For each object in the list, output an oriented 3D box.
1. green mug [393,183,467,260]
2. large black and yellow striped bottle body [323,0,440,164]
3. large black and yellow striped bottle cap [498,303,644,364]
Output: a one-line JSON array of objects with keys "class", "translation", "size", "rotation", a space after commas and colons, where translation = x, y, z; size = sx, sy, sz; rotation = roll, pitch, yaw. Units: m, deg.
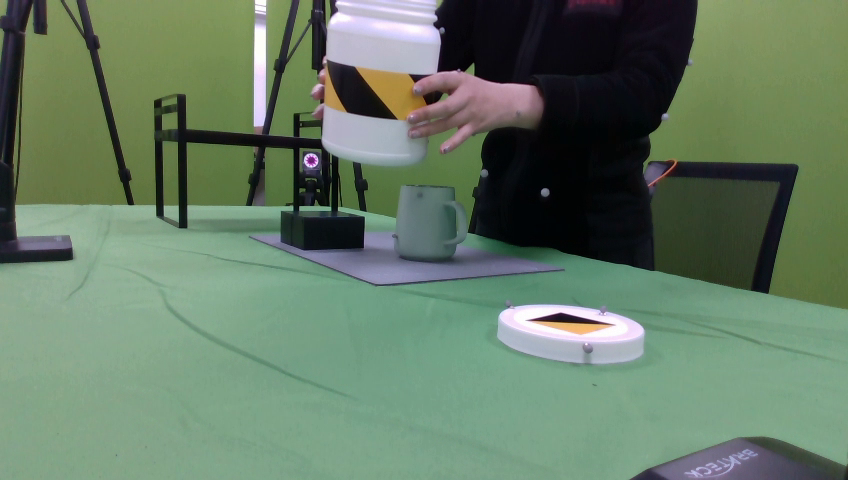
[{"class": "green mug", "translation": [0.014, -0.026, 0.857], "size": [0.093, 0.105, 0.124], "rotation": [-4, 10, -41]}, {"class": "large black and yellow striped bottle body", "translation": [-0.051, -0.195, 0.720], "size": [0.131, 0.184, 0.130], "rotation": [6, 23, -2]}, {"class": "large black and yellow striped bottle cap", "translation": [0.117, 0.072, 0.486], "size": [0.115, 0.019, 0.115], "rotation": [2, 8, 0]}]
